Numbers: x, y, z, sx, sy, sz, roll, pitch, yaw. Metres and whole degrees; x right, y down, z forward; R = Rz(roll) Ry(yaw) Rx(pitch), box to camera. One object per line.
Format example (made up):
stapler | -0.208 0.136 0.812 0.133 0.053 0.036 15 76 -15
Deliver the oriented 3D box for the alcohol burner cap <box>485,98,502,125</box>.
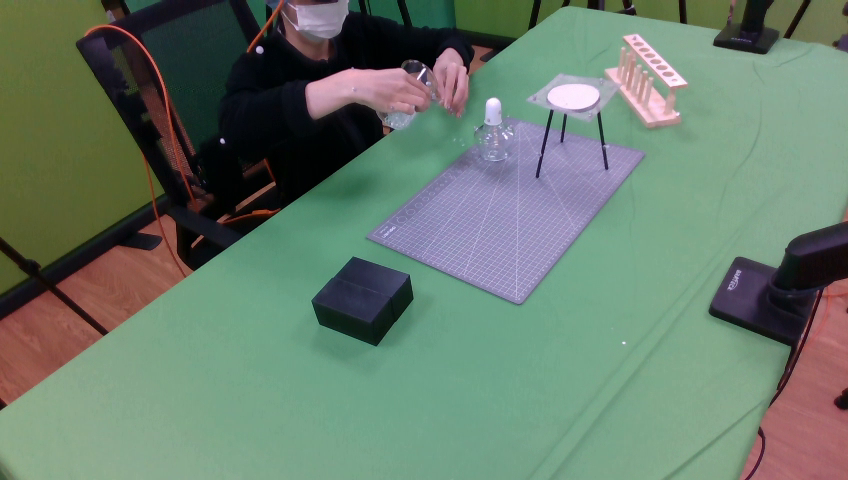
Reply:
alcohol burner cap | 0.126 -0.234 1.097 0.034 0.048 0.033 -3 39 3

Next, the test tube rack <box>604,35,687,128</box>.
test tube rack | 0.447 -0.330 1.241 0.067 0.085 0.241 -9 41 -2

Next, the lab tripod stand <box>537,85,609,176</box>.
lab tripod stand | 0.259 -0.192 1.068 0.148 0.132 0.147 -4 42 4

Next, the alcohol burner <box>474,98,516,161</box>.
alcohol burner | 0.131 -0.208 1.121 0.078 0.119 0.077 -5 40 5

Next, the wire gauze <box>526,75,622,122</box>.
wire gauze | 0.255 -0.248 1.030 0.124 0.011 0.122 24 51 32

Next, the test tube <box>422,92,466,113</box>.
test tube | 0.041 -0.258 1.141 0.017 0.017 0.151 21 12 29

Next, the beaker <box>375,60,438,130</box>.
beaker | -0.031 -0.243 1.030 0.073 0.084 0.100 18 61 29
